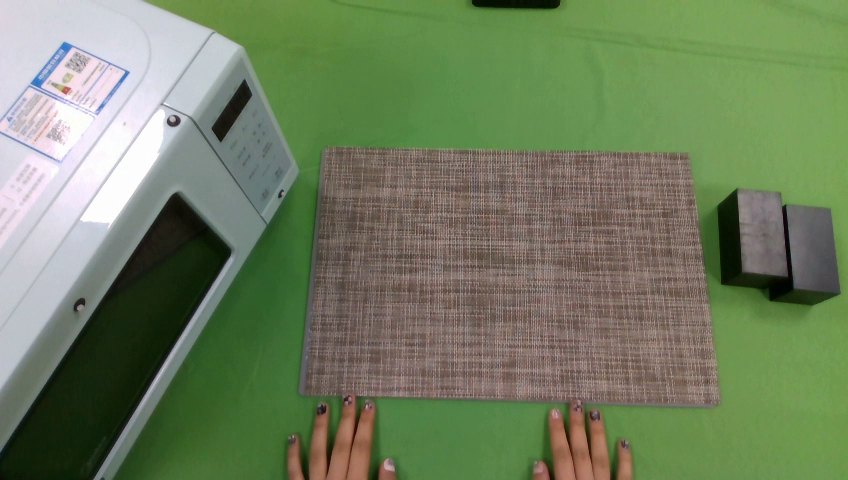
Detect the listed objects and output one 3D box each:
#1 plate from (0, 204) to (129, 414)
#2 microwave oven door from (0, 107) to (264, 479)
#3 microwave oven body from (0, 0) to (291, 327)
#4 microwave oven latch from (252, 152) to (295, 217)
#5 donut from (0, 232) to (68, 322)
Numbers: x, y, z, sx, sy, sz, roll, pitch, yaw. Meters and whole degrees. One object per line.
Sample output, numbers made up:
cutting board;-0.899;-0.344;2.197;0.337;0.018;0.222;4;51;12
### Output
plate;-0.384;0.066;0.595;0.209;0.038;0.207;-3;69;7
microwave oven door;-0.276;0.084;0.541;0.039;0.245;0.354;24;73;9
microwave oven body;-0.390;-0.011;0.577;0.325;0.261;0.440;25;74;7
microwave oven latch;-0.178;-0.068;0.700;0.030;0.029;0.079;25;74;7
donut;-0.411;0.037;0.610;0.099;0.048;0.098;2;56;-3
